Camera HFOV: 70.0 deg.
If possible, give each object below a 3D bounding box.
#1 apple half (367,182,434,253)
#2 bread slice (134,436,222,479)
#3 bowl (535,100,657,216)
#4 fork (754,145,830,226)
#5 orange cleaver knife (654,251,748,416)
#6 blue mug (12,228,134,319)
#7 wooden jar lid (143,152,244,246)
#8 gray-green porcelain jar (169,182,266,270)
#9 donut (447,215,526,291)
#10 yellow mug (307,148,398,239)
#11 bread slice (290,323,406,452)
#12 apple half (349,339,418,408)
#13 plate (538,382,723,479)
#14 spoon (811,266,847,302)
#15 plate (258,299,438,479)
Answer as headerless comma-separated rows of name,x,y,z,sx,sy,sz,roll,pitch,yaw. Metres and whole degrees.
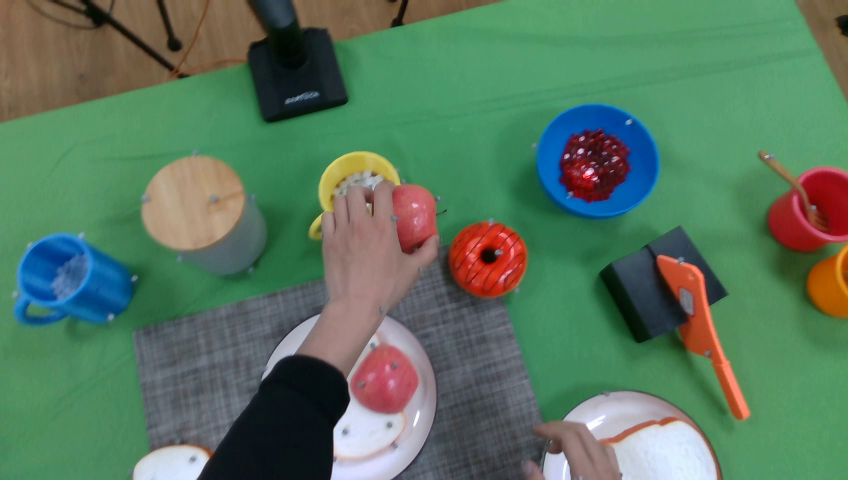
apple half,-0.025,-0.027,0.663,0.075,0.053,0.080,0,83,-4
bread slice,-0.281,0.290,0.683,0.105,0.019,0.131,-7,75,-4
bowl,0.210,-0.094,0.778,0.151,0.077,0.150,0,75,-1
fork,0.452,-0.064,0.738,0.209,0.018,0.028,28,69,-36
orange cleaver knife,0.327,0.109,0.720,0.012,0.077,0.212,-26,98,-15
blue mug,-0.416,0.051,0.706,0.116,0.106,0.082,-41,78,-11
wooden jar lid,-0.250,-0.043,0.662,0.108,0.021,0.107,0,72,0
gray-green porcelain jar,-0.250,-0.025,0.722,0.106,0.127,0.105,0,73,-1
donut,0.078,0.017,0.757,0.099,0.048,0.098,0,75,-1
yellow mug,-0.093,-0.048,0.764,0.131,0.064,0.099,-39,78,-11
bread slice,-0.081,0.177,0.711,0.107,0.018,0.133,-26,76,-8
apple half,-0.044,0.153,0.695,0.081,0.033,0.081,1,72,-2
plate,0.232,0.271,0.694,0.209,0.038,0.208,0,74,-1
spoon,0.561,0.022,0.716,0.022,0.194,0.041,-4,65,-50
plate,-0.087,0.174,0.711,0.208,0.039,0.206,0,74,-1
